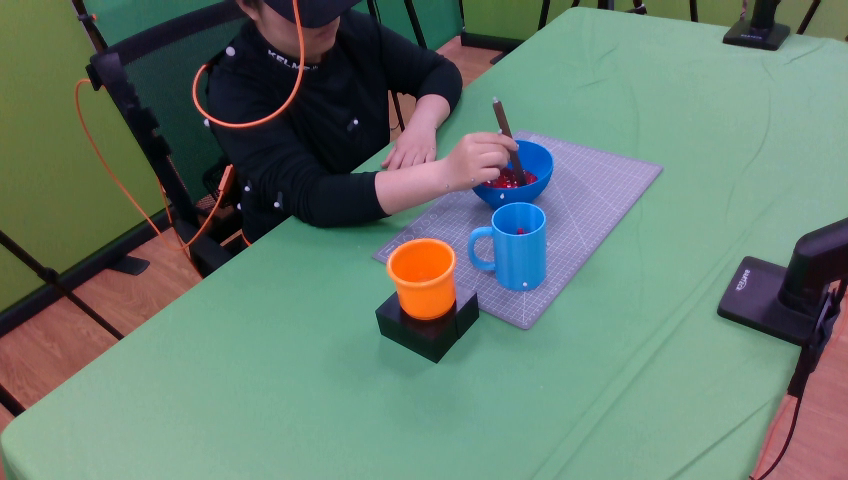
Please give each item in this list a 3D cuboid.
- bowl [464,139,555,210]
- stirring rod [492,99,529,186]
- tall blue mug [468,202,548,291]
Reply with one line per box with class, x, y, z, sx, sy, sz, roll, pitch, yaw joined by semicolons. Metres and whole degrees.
bowl;0.145;-0.100;1.025;0.151;0.077;0.150;-5;40;5
stirring rod;0.137;-0.141;0.938;0.014;0.177;0.006;-28;36;-2
tall blue mug;0.125;0.015;0.869;0.107;0.108;0.077;-21;42;-14
